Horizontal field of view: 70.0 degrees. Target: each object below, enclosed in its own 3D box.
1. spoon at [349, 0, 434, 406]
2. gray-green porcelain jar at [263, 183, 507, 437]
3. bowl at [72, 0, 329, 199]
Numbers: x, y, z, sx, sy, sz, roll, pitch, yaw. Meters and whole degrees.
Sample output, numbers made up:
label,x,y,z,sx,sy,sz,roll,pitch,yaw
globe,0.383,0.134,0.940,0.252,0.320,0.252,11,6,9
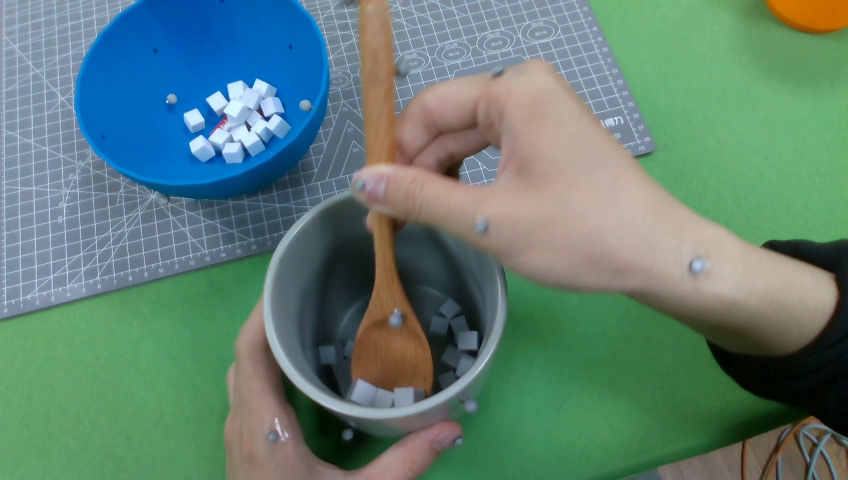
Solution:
label,x,y,z,sx,sy,sz,roll,pitch,yaw
spoon,-0.016,-0.004,0.259,0.041,0.195,0.021,5,27,11
gray-green porcelain jar,-0.014,0.045,0.314,0.106,0.127,0.105,-1,68,2
bowl,-0.130,-0.084,0.392,0.151,0.077,0.150,-1,68,2
